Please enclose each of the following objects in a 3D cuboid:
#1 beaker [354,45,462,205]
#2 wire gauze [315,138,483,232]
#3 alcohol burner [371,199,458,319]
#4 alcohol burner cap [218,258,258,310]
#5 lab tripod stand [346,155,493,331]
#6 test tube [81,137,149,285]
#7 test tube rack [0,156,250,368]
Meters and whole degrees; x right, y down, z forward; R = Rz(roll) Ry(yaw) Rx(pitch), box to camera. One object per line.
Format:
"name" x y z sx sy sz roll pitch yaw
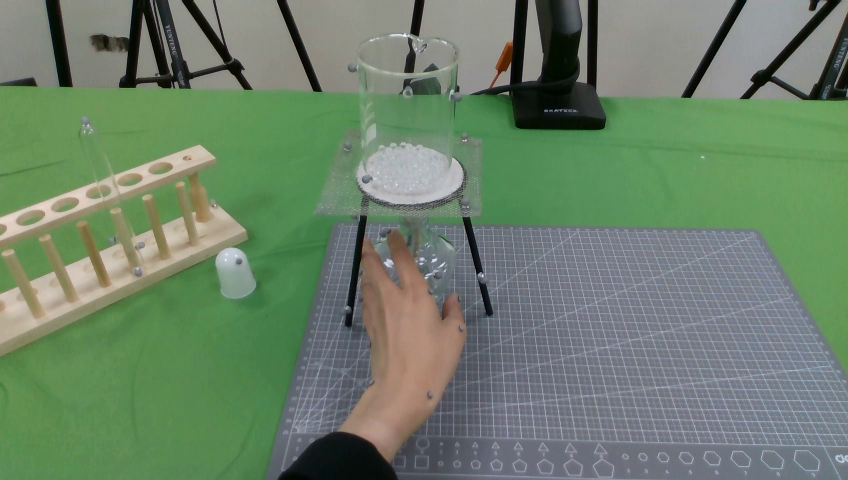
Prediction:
"beaker" -0.011 -0.085 0.452 0.074 0.101 0.083 8 39 8
"wire gauze" -0.014 -0.046 0.481 0.121 0.011 0.124 3 40 3
"alcohol burner" -0.008 0.013 0.530 0.078 0.120 0.077 1 40 0
"alcohol burner cap" -0.174 0.038 0.562 0.034 0.048 0.033 0 39 0
"lab tripod stand" -0.005 0.005 0.523 0.148 0.132 0.147 1 37 -1
"test tube" -0.268 -0.021 0.529 0.017 0.151 0.017 1 37 0
"test tube rack" -0.293 0.013 0.558 0.242 0.086 0.066 -29 46 -32
